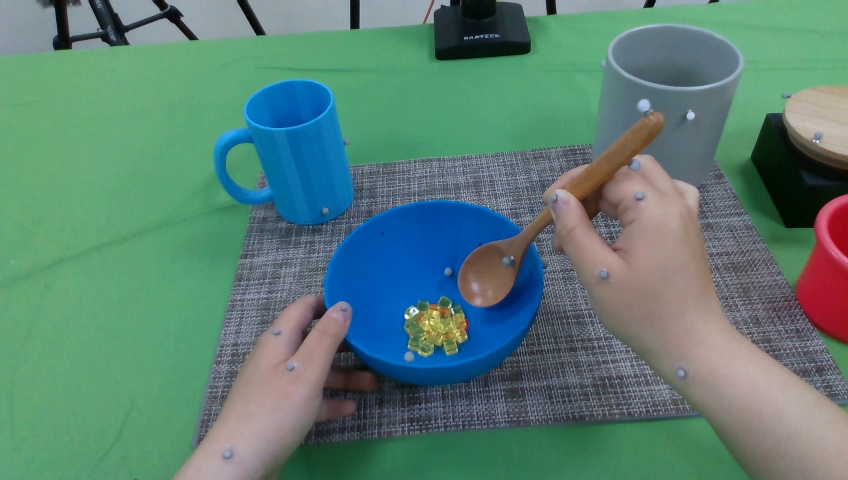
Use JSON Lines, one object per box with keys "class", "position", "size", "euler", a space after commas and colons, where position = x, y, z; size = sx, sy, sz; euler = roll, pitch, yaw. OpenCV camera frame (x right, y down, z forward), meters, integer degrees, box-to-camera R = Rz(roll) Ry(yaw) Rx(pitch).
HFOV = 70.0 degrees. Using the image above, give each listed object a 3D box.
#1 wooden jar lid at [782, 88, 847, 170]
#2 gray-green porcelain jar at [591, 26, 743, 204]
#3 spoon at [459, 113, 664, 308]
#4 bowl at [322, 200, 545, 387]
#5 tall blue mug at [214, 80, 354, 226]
{"class": "wooden jar lid", "position": [0.363, -0.094, 0.516], "size": [0.108, 0.021, 0.107], "euler": [-3, 46, 4]}
{"class": "gray-green porcelain jar", "position": [0.205, -0.104, 0.532], "size": [0.106, 0.128, 0.105], "euler": [-3, 46, 3]}
{"class": "spoon", "position": [0.074, -0.010, 0.368], "size": [0.022, 0.194, 0.041], "euler": [-15, 69, -33]}
{"class": "bowl", "position": [0.009, 0.049, 0.436], "size": [0.151, 0.077, 0.150], "euler": [-3, 46, 3]}
{"class": "tall blue mug", "position": [-0.121, -0.069, 0.542], "size": [0.077, 0.109, 0.107], "euler": [33, 57, 31]}
